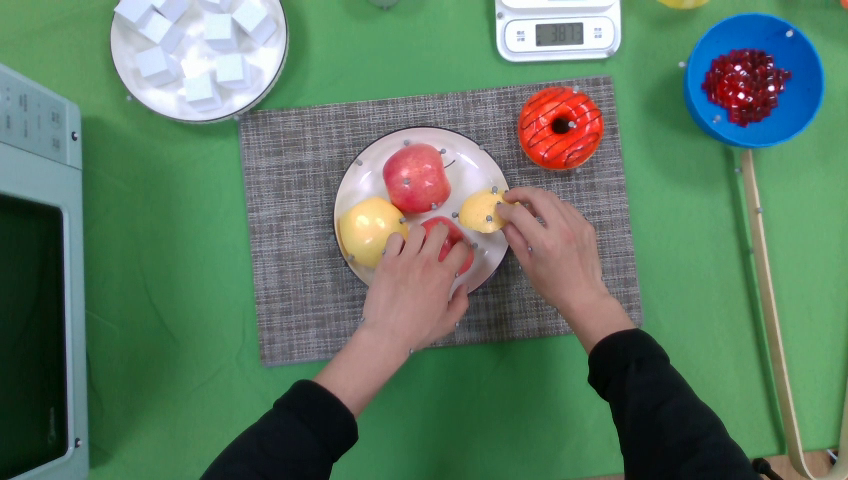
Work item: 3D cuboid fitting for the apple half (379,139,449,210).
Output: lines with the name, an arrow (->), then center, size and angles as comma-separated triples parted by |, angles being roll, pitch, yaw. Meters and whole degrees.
apple half -> -0.013, -0.075, 0.686 | 0.074, 0.053, 0.080 | -14, 89, 2

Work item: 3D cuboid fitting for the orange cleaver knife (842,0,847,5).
orange cleaver knife -> 0.461, -0.366, 0.672 | 0.077, 0.012, 0.211 | -16, 87, -4

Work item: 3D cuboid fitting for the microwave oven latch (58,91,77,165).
microwave oven latch -> -0.416, -0.127, 0.693 | 0.030, 0.029, 0.079 | -2, 87, 0

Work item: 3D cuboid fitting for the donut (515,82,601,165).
donut -> 0.154, -0.135, 0.703 | 0.099, 0.048, 0.099 | 0, 87, 3

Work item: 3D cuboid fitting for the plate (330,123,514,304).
plate -> -0.002, -0.030, 0.700 | 0.209, 0.038, 0.208 | 0, 86, 0

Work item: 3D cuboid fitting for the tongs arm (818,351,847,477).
tongs arm -> 0.498, 0.078, 0.703 | 0.028, 0.028, 0.387 | 9, 86, -8

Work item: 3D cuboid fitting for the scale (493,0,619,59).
scale -> 0.156, -0.320, 0.725 | 0.149, 0.031, 0.200 | -2, 87, 1

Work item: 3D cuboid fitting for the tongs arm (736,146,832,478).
tongs arm -> 0.412, 0.080, 0.698 | 0.051, 0.026, 0.384 | -6, 87, -6

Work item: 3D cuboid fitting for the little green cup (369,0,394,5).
little green cup -> -0.052, -0.314, 0.723 | 0.061, 0.038, 0.061 | 0, 86, 1

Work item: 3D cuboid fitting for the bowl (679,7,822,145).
bowl -> 0.357, -0.176, 0.693 | 0.151, 0.077, 0.151 | 0, 87, 0

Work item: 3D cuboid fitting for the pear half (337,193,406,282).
pear half -> -0.049, 0.001, 0.680 | 0.076, 0.056, 0.110 | -36, 96, -5

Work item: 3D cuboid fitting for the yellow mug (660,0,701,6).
yellow mug -> 0.302, -0.349, 0.710 | 0.100, 0.064, 0.130 | -39, 86, -2

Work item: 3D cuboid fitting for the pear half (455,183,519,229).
pear half -> 0.065, -0.042, 0.656 | 0.070, 0.087, 0.031 | -18, 112, 7

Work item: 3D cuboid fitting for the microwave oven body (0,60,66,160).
microwave oven body -> -0.555, 0.050, 0.585 | 0.326, 0.260, 0.441 | -4, 87, 0

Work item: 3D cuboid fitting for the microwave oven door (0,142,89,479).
microwave oven door -> -0.407, 0.083, 0.577 | 0.039, 0.244, 0.355 | -4, 86, 0

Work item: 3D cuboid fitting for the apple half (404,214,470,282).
apple half -> 0.014, 0.010, 0.691 | 0.081, 0.033, 0.081 | 1, 84, -6

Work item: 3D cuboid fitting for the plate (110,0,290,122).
plate -> -0.260, -0.238, 0.718 | 0.208, 0.039, 0.207 | 0, 86, 0
